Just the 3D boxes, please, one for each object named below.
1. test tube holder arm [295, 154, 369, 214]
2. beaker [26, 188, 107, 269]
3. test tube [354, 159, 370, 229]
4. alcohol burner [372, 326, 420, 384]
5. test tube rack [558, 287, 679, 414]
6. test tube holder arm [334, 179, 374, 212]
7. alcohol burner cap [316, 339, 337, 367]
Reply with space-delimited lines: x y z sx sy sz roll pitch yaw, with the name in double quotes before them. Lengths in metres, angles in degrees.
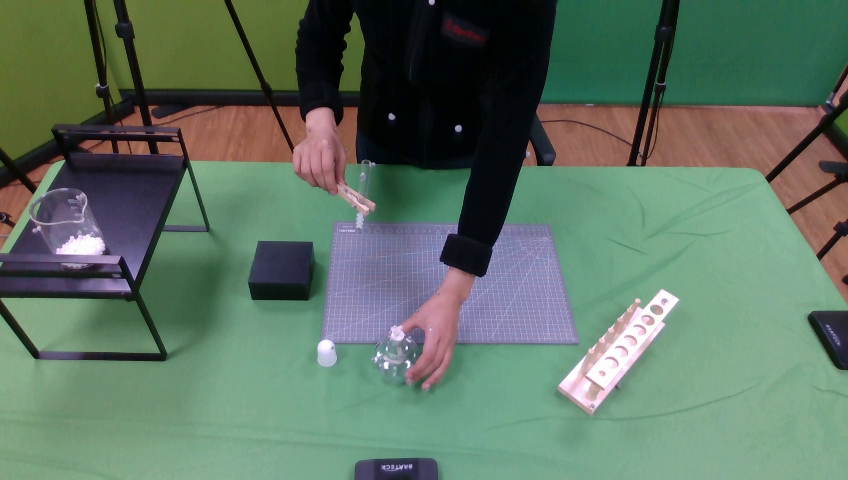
"test tube holder arm" -0.160 -0.098 1.043 0.177 0.015 0.013 36 44 20
"beaker" -0.504 -0.013 0.868 0.084 0.101 0.074 23 49 17
"test tube" -0.104 -0.074 1.011 0.017 0.151 0.017 6 45 -6
"alcohol burner" -0.045 0.175 0.960 0.078 0.120 0.077 1 47 -1
"test tube rack" 0.326 0.170 1.009 0.066 0.085 0.242 36 54 26
"test tube holder arm" -0.122 -0.077 1.032 0.087 0.015 0.010 31 43 15
"alcohol burner cap" -0.161 0.182 0.995 0.034 0.048 0.033 2 47 -2
